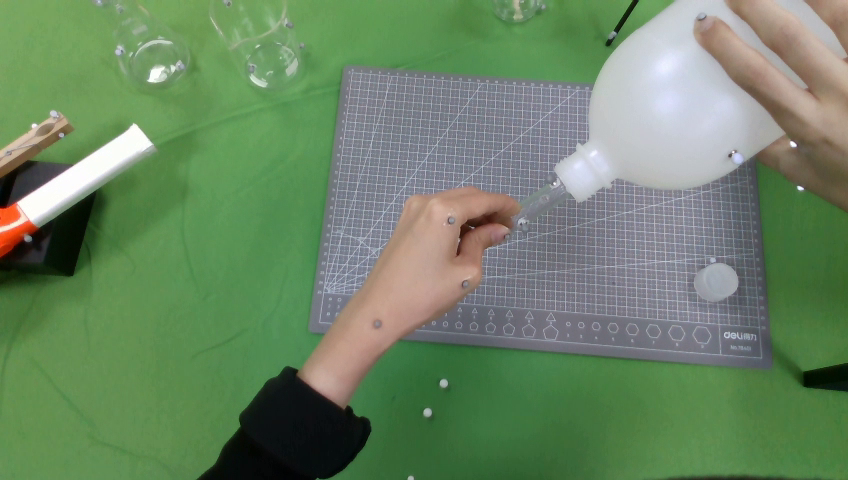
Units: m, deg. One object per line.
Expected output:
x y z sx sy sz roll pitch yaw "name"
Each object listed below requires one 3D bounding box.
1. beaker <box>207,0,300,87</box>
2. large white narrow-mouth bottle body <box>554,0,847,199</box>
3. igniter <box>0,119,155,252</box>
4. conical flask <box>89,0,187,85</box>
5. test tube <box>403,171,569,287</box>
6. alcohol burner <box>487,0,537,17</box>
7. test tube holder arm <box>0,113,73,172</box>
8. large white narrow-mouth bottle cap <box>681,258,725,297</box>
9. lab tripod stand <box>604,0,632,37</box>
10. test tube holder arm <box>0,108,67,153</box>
-0.173 -0.211 0.627 0.074 0.101 0.083 19 74 6 "beaker"
0.163 -0.094 0.357 0.195 0.102 0.101 -38 75 15 "large white narrow-mouth bottle body"
-0.376 -0.021 0.555 0.276 0.025 0.057 -39 79 -15 "igniter"
-0.298 -0.220 0.615 0.075 0.122 0.075 0 72 0 "conical flask"
0.040 -0.004 0.433 0.150 0.017 0.017 -34 71 31 "test tube"
0.101 -0.299 0.650 0.078 0.120 0.077 1 71 -2 "alcohol burner"
-0.380 -0.091 0.580 0.088 0.015 0.010 -38 77 -12 "test tube holder arm"
0.276 0.037 0.599 0.038 0.024 0.037 0 74 0 "large white narrow-mouth bottle cap"
0.270 -0.284 0.638 0.148 0.132 0.147 1 72 -2 "lab tripod stand"
-0.418 -0.067 0.571 0.178 0.015 0.013 -39 77 -12 "test tube holder arm"
